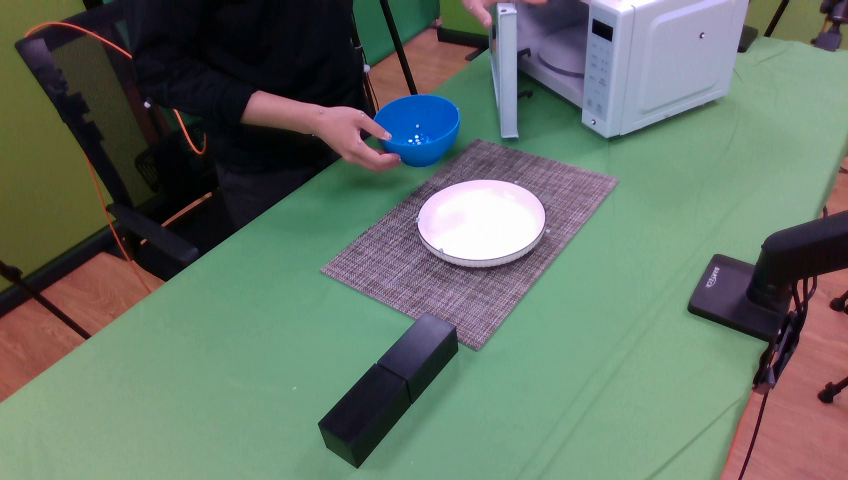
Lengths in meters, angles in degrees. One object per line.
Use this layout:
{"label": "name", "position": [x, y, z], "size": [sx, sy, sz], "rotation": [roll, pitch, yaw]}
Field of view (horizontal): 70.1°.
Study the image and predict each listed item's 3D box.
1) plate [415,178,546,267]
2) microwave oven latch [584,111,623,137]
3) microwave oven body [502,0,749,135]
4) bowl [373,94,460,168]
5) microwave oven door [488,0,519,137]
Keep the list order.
{"label": "plate", "position": [0.091, -0.026, 0.970], "size": [0.207, 0.039, 0.206], "rotation": [-4, 41, 4]}
{"label": "microwave oven latch", "position": [0.337, -0.222, 1.142], "size": [0.030, 0.029, 0.078], "rotation": [-21, 42, -14]}
{"label": "microwave oven body", "position": [0.382, -0.444, 1.246], "size": [0.327, 0.261, 0.437], "rotation": [-22, 42, -16]}
{"label": "bowl", "position": [-0.009, -0.179, 1.049], "size": [0.151, 0.077, 0.150], "rotation": [-4, 45, 4]}
{"label": "microwave oven door", "position": [0.158, -0.405, 1.223], "size": [0.039, 0.245, 0.354], "rotation": [-4, 41, 5]}
